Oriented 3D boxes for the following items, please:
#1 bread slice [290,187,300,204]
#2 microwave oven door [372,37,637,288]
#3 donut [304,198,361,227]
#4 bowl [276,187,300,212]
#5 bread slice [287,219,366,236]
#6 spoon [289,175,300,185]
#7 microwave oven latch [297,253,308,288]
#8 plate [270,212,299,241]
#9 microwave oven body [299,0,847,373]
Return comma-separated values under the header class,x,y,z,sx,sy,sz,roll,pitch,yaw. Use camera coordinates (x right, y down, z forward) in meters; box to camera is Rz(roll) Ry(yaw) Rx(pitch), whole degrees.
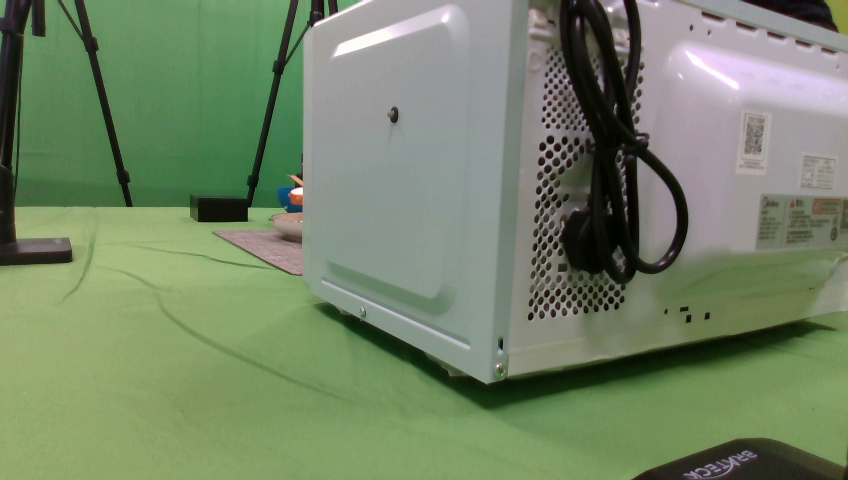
class,x,y,z,sx,sy,sz,roll,pitch,yaw
bread slice,-0.167,-0.080,1.051,0.131,0.019,0.105,-1,13,0
microwave oven door,0.110,-0.080,0.686,0.358,0.243,0.039,-2,8,-33
donut,-0.160,-0.049,1.055,0.099,0.048,0.099,4,8,0
bowl,-0.241,-0.073,1.302,0.151,0.077,0.151,2,7,0
bread slice,-0.169,-0.022,1.056,0.134,0.018,0.107,1,7,-6
spoon,-0.260,-0.111,1.342,0.042,0.021,0.192,-8,33,-30
microwave oven latch,-0.081,0.028,0.578,0.079,0.029,0.030,-1,7,-26
plate,-0.162,-0.022,1.057,0.208,0.039,0.207,2,7,0
microwave oven body,0.152,-0.055,0.542,0.444,0.260,0.324,-2,7,-33
